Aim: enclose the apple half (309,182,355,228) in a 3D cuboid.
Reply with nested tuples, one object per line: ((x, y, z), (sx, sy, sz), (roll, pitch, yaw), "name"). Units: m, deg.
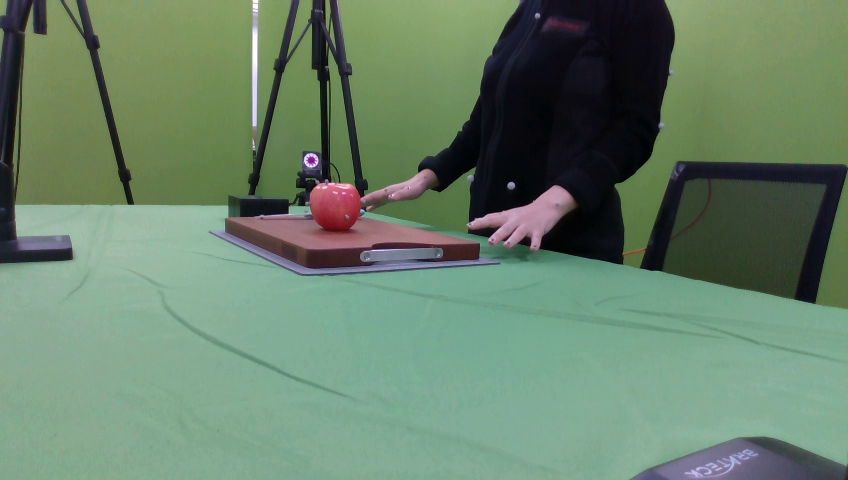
((-0.152, -0.058, 0.979), (0.082, 0.081, 0.032), (-2, 11, -27), "apple half")

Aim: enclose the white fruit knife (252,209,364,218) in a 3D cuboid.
((-0.209, -0.047, 1.106), (0.208, 0.016, 0.027), (-3, -4, -30), "white fruit knife")

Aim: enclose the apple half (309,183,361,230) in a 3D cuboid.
((-0.135, -0.052, 0.945), (0.081, 0.074, 0.053), (3, 11, -29), "apple half")
